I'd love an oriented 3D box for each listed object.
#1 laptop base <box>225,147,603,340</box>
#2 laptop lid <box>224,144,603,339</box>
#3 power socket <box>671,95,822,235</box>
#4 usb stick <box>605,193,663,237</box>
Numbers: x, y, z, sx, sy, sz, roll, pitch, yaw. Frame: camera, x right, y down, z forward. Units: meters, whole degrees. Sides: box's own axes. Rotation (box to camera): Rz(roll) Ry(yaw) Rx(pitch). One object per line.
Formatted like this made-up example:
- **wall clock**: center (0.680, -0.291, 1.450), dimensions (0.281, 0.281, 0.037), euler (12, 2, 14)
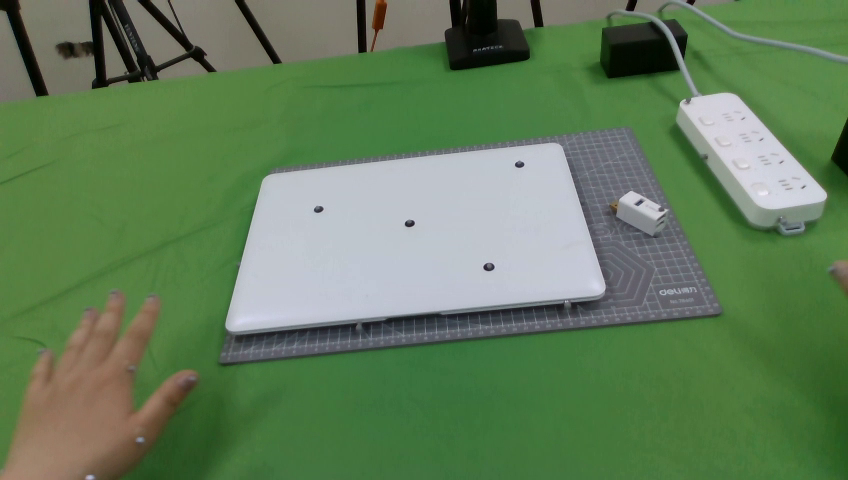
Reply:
- **laptop base**: center (-0.015, -0.004, 0.636), dimensions (0.354, 0.023, 0.233), euler (-6, 46, 3)
- **laptop lid**: center (-0.016, -0.011, 0.626), dimensions (0.356, 0.013, 0.239), euler (-5, 45, 4)
- **power socket**: center (0.341, -0.091, 0.657), dimensions (0.072, 0.033, 0.224), euler (-8, 43, 0)
- **usb stick**: center (0.210, -0.028, 0.614), dimensions (0.021, 0.027, 0.058), euler (-33, 45, -24)
